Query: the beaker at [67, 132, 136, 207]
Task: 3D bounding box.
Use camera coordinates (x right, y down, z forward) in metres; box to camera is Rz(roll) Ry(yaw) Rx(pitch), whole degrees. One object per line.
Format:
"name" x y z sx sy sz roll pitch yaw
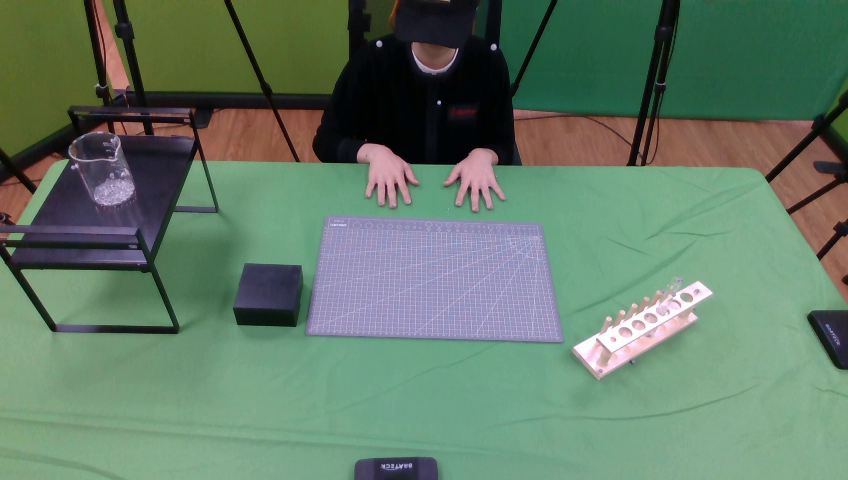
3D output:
"beaker" -0.504 -0.109 0.962 0.083 0.101 0.074 25 50 19

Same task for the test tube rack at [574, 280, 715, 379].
"test tube rack" 0.378 0.140 1.038 0.242 0.085 0.066 -22 51 -23

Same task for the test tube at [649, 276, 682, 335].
"test tube" 0.396 0.111 0.999 0.017 0.151 0.017 0 48 0
